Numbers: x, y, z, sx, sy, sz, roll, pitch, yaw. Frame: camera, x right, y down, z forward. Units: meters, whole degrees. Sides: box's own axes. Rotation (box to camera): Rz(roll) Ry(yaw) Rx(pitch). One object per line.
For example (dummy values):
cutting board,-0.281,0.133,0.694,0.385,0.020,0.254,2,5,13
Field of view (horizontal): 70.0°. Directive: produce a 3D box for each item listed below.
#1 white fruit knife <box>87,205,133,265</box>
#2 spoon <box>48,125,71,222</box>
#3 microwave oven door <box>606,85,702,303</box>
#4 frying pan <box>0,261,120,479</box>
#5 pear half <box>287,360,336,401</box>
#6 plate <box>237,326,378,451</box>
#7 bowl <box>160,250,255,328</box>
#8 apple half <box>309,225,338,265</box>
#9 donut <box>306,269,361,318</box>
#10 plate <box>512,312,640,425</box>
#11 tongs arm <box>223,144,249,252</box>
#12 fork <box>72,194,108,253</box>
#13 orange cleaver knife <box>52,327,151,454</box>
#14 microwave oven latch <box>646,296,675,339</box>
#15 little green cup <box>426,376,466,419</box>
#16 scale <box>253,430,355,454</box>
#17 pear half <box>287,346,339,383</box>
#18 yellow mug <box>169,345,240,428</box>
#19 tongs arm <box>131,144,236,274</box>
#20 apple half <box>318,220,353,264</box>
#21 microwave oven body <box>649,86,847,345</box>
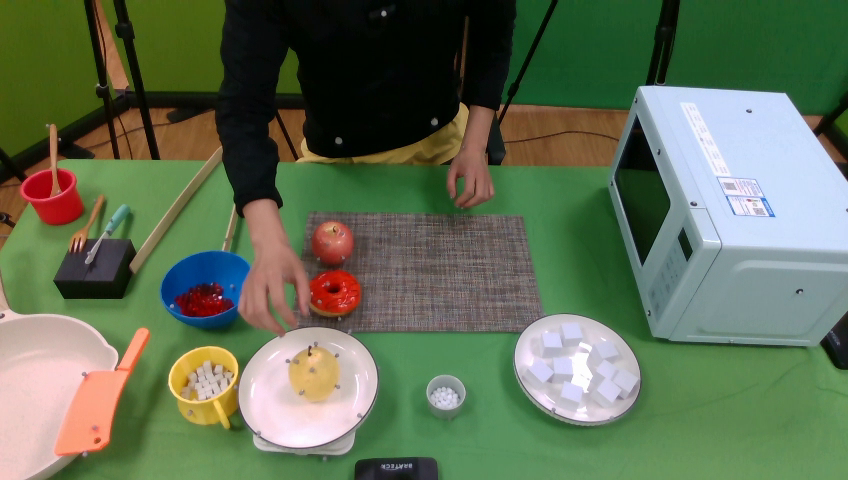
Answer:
white fruit knife,-0.584,-0.013,1.129,0.016,0.027,0.206,-1,31,-4
spoon,-0.718,-0.131,1.188,0.041,0.021,0.193,-3,90,-7
microwave oven door,0.422,-0.094,1.140,0.039,0.245,0.353,2,46,-1
frying pan,-0.647,0.164,0.936,0.307,0.103,0.485,-19,58,-22
pear half,-0.164,0.211,0.882,0.070,0.088,0.031,-1,46,-7
plate,-0.174,0.224,0.917,0.209,0.038,0.208,2,46,-2
bowl,-0.362,0.098,1.039,0.151,0.077,0.150,2,45,-2
apple half,-0.193,0.017,1.125,0.033,0.081,0.081,-27,53,-31
donut,-0.160,0.095,1.075,0.099,0.048,0.098,3,45,-2
plate,0.246,0.213,0.999,0.208,0.039,0.206,2,46,-2
tongs arm,-0.397,-0.073,1.232,0.051,0.027,0.382,-2,45,0
fork,-0.634,-0.036,1.158,0.028,0.019,0.206,-7,32,-9
orange cleaver knife,-0.462,0.212,0.879,0.077,0.012,0.210,7,45,-2
microwave oven latch,0.412,0.134,1.061,0.030,0.029,0.078,4,45,1
little green cup,0.033,0.248,0.950,0.061,0.039,0.061,2,46,-2
scale,-0.175,0.236,0.951,0.149,0.032,0.199,4,45,0
pear half,-0.164,0.179,0.900,0.076,0.110,0.055,1,46,-7
yellow mug,-0.323,0.230,0.922,0.100,0.064,0.130,-24,53,-25
tongs arm,-0.483,-0.077,1.235,0.028,0.028,0.385,6,45,13
apple half,-0.162,0.001,1.144,0.053,0.075,0.080,-25,50,-29
microwave oven body,0.567,-0.053,1.118,0.326,0.261,0.439,2,45,-1
